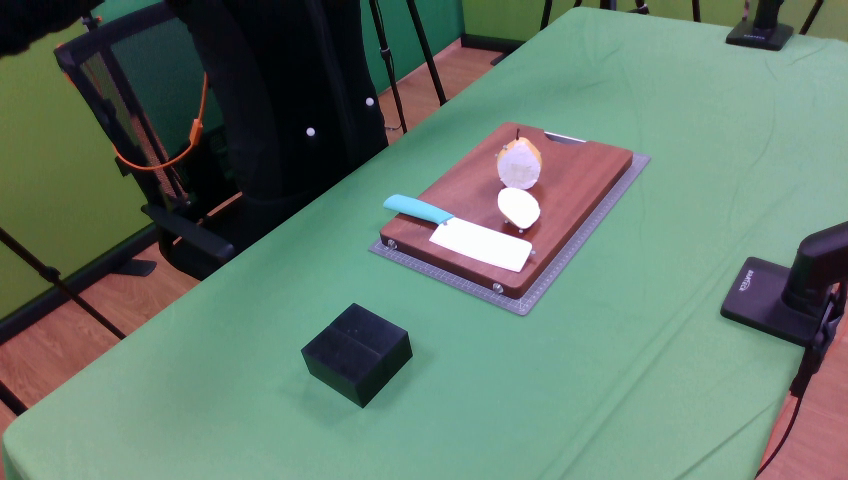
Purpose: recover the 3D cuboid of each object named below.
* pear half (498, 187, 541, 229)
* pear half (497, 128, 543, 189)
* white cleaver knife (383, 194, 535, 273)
[{"bbox_3d":[0.149,-0.045,0.957,0.070,0.031,0.087,4,53,-9],"label":"pear half"},{"bbox_3d":[0.162,-0.145,1.014,0.076,0.110,0.056,2,41,8],"label":"pear half"},{"bbox_3d":[0.043,-0.016,0.953,0.284,0.022,0.066,21,59,33],"label":"white cleaver knife"}]
